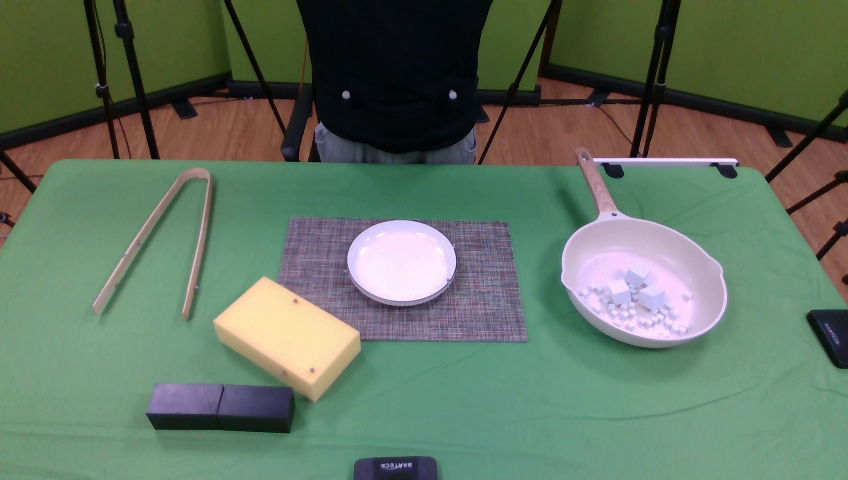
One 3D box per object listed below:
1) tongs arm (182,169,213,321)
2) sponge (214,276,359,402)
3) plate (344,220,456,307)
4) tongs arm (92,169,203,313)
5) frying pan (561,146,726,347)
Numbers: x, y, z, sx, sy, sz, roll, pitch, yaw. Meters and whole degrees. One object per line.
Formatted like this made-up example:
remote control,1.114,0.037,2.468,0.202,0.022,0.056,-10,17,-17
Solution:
tongs arm,-0.436,-0.005,1.166,0.028,0.028,0.385,-5,46,-6
sponge,-0.224,0.158,0.998,0.206,0.061,0.118,27,52,18
plate,-0.044,0.047,1.133,0.208,0.039,0.206,3,46,-2
tongs arm,-0.517,-0.012,1.160,0.051,0.026,0.382,7,45,1
frying pan,0.378,-0.005,1.175,0.307,0.103,0.484,-4,55,-9
